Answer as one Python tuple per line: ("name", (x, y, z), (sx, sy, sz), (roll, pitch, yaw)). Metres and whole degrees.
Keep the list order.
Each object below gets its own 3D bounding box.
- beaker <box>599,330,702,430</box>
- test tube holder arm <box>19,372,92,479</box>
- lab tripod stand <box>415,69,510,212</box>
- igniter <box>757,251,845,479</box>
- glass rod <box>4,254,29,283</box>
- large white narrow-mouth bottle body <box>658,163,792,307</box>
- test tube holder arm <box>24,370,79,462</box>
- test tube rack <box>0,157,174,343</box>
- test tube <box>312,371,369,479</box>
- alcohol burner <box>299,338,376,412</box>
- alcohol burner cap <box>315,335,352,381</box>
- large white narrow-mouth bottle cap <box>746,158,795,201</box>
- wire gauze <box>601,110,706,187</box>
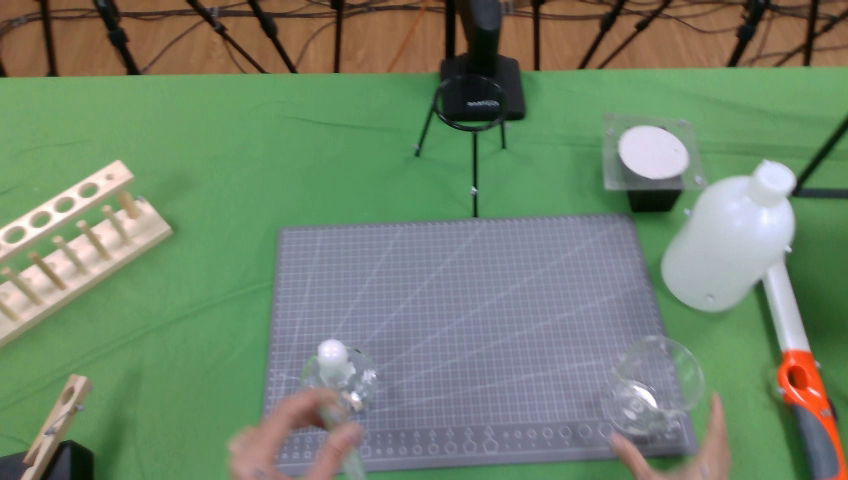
("beaker", (0.218, 0.145, 0.607), (0.084, 0.101, 0.073), (3, 58, 2))
("test tube holder arm", (-0.357, 0.207, 0.557), (0.013, 0.015, 0.177), (8, 59, 12))
("lab tripod stand", (0.057, -0.130, 0.758), (0.148, 0.132, 0.147), (1, 59, -2))
("igniter", (0.407, 0.127, 0.667), (0.057, 0.025, 0.274), (9, 58, -8))
("glass rod", (-0.455, -0.013, 0.628), (0.008, 0.201, 0.008), (2, 49, -2))
("large white narrow-mouth bottle body", (0.330, -0.011, 0.652), (0.102, 0.196, 0.101), (0, 58, 0))
("test tube holder arm", (-0.353, 0.168, 0.581), (0.010, 0.015, 0.087), (7, 59, 11))
("test tube rack", (-0.422, 0.015, 0.689), (0.242, 0.086, 0.066), (-38, 66, -22))
("test tube", (-0.058, 0.143, 0.441), (0.017, 0.152, 0.017), (-3, 45, 4))
("alcohol burner", (-0.088, 0.129, 0.605), (0.078, 0.120, 0.077), (1, 57, -2))
("alcohol burner cap", (-0.087, 0.110, 0.574), (0.034, 0.048, 0.033), (-1, 53, 2))
("large white narrow-mouth bottle cap", (0.331, -0.058, 0.580), (0.038, 0.024, 0.037), (0, 58, 0))
("wire gauze", (0.287, -0.115, 0.768), (0.121, 0.011, 0.124), (4, 58, 2))
